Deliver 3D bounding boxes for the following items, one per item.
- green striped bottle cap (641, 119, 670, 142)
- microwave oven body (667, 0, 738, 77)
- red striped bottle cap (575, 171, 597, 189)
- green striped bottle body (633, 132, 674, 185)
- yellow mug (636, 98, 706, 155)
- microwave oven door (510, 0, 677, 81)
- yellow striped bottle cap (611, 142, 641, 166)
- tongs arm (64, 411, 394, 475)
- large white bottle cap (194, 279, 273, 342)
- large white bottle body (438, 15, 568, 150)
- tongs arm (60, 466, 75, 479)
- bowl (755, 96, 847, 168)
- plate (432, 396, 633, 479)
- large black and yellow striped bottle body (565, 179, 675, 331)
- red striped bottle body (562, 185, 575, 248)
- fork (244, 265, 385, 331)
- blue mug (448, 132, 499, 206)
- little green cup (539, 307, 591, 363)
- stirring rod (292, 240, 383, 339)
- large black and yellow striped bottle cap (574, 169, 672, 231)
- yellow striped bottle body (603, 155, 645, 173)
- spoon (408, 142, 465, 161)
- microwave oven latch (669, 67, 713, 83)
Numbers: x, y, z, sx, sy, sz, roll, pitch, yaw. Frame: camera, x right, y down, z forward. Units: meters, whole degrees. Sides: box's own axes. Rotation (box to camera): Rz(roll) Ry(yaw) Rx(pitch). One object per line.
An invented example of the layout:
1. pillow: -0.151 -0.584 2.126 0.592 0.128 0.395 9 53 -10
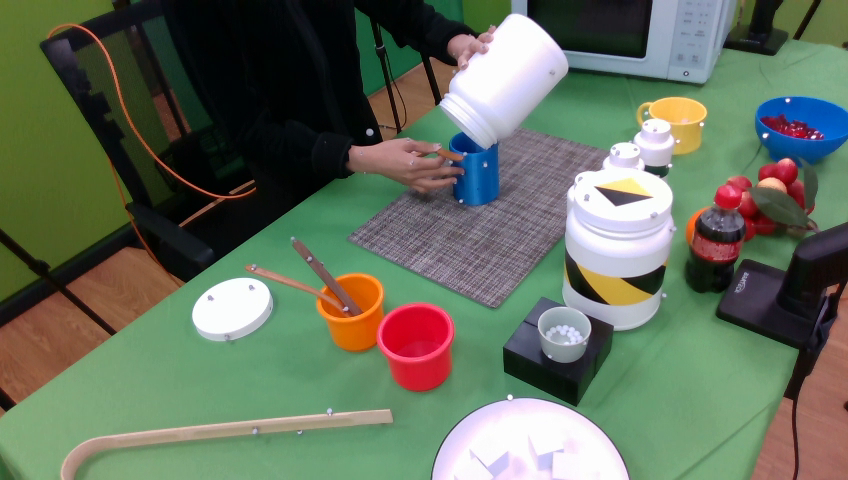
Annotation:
1. green striped bottle cap: 0.371 -0.175 0.968 0.044 0.020 0.044 -5 42 5
2. microwave oven body: 0.462 -0.552 1.369 0.439 0.261 0.326 15 45 26
3. red striped bottle cap: 0.242 -0.081 0.876 0.044 0.018 0.044 -5 44 5
4. green striped bottle body: 0.376 -0.135 1.001 0.063 0.120 0.063 -5 40 5
5. yellow mug: 0.453 -0.217 1.128 0.100 0.064 0.129 -34 46 -27
6. microwave oven door: 0.354 -0.478 1.290 0.353 0.245 0.039 15 45 25
7. yellow striped bottle cap: 0.309 -0.131 0.925 0.044 0.019 0.044 -5 45 5
8. tongs arm: -0.228 0.240 0.715 0.385 0.026 0.050 -4 43 5
9. large white bottle cap: -0.284 0.103 0.902 0.115 0.018 0.114 -4 40 4
10. large white bottle body: 0.123 -0.247 0.970 0.184 0.132 0.129 -47 45 5
11. tongs arm: -0.239 0.301 0.649 0.386 0.028 0.028 6 49 17
12. bowl: 0.645 -0.177 1.041 0.151 0.077 0.150 -5 40 4
13. plate: 0.112 0.261 0.634 0.209 0.038 0.208 -5 40 4
14. large black and yellow striped bottle body: 0.254 0.014 0.793 0.131 0.185 0.130 -5 40 4
15. red striped bottle body: 0.247 -0.041 0.910 0.063 0.120 0.062 0 38 1
16. fork: -0.142 0.078 0.806 0.209 0.018 0.028 30 32 -23
17. blue mug: 0.089 -0.135 1.051 0.082 0.106 0.116 2 42 12
18. little green cup: 0.167 0.114 0.721 0.061 0.039 0.061 -4 43 4
19. stirring rod: -0.118 0.068 0.825 0.176 0.006 0.014 48 59 -3
20. large black and yellow striped bottle cap: 0.242 -0.051 0.738 0.115 0.019 0.114 -4 37 3
21. yellow striped bottle body: 0.314 -0.091 0.957 0.063 0.121 0.062 -4 40 4
22. spoon: 0.018 -0.146 1.011 0.042 0.022 0.192 -35 21 -12
23. microwave oven latch: 0.556 -0.349 1.261 0.078 0.029 0.030 16 46 27
